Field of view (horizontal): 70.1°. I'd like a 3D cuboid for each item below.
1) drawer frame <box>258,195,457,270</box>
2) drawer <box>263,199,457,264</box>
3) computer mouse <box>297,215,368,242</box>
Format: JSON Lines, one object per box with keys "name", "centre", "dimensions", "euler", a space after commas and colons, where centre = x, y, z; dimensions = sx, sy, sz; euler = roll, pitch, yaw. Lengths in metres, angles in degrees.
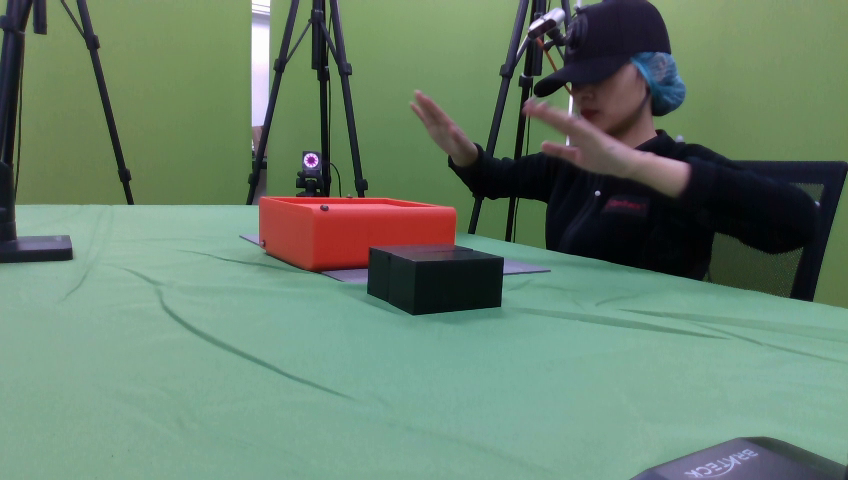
{"name": "drawer frame", "centre": [-0.095, -0.018, 0.845], "dimensions": [0.215, 0.082, 0.200], "euler": [-3, 10, -34]}
{"name": "drawer", "centre": [-0.093, -0.017, 0.846], "dimensions": [0.213, 0.073, 0.193], "euler": [-3, 10, -33]}
{"name": "computer mouse", "centre": [-0.156, -0.021, 1.032], "dimensions": [0.118, 0.041, 0.062], "euler": [-9, 15, -39]}
